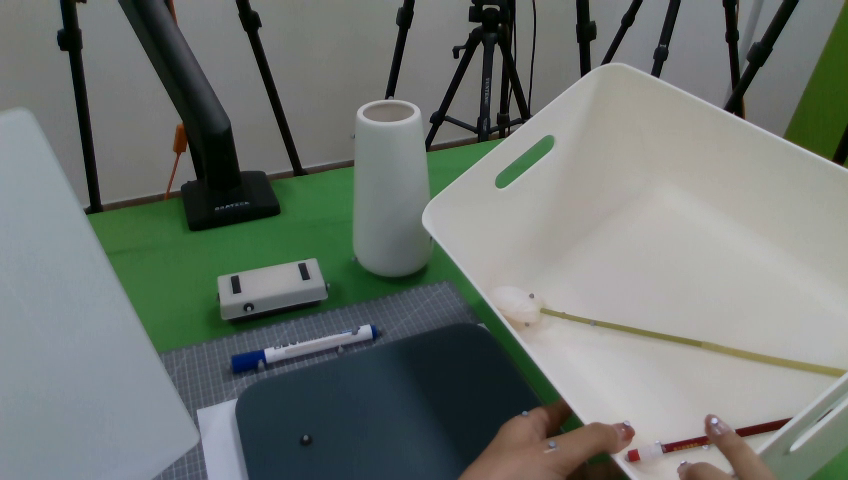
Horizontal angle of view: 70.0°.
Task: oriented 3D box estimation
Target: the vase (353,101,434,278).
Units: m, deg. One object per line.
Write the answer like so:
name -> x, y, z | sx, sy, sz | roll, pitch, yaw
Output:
vase -> -0.035, -0.054, 0.697 | 0.098, 0.201, 0.097 | 1, 35, -1

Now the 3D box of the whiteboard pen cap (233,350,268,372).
whiteboard pen cap -> -0.171, 0.119, 0.600 | 0.033, 0.018, 0.018 | -9, 36, -18

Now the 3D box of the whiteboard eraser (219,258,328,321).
whiteboard eraser -> -0.168, 0.057, 0.673 | 0.113, 0.042, 0.055 | -12, 34, -16

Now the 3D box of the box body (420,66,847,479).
box body -> 0.199, 0.034, 0.531 | 0.254, 0.162, 0.360 | -39, 42, 0

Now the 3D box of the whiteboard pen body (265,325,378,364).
whiteboard pen body -> -0.116, 0.109, 0.617 | 0.141, 0.017, 0.017 | -11, 37, -16

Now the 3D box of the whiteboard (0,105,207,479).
whiteboard -> -0.344, 0.085, 0.446 | 0.143, 0.307, 0.217 | 5, 31, 42

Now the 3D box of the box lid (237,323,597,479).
box lid -> 0.010, 0.213, 0.476 | 0.264, 0.015, 0.367 | -13, 37, -19

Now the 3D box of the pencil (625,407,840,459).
pencil -> 0.261, 0.155, 0.492 | 0.194, 0.012, 0.012 | -19, 30, 18

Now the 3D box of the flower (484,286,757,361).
flower -> 0.220, 0.093, 0.567 | 0.359, 0.038, 0.044 | 11, -7, 32
